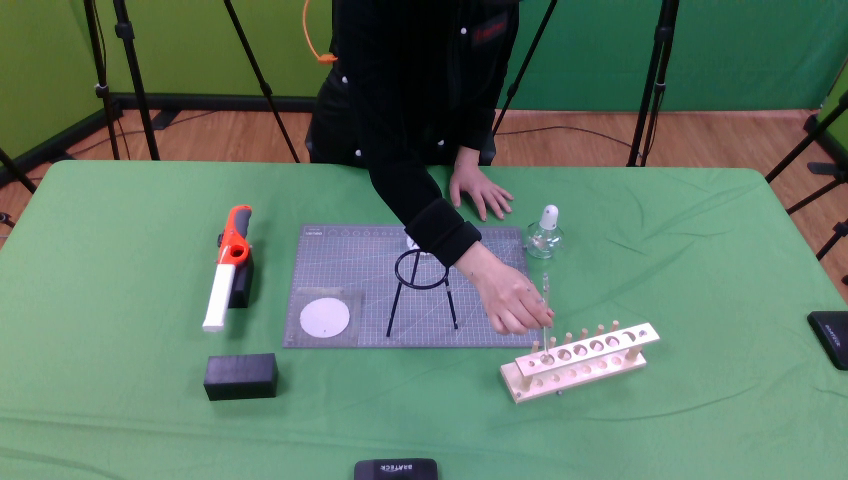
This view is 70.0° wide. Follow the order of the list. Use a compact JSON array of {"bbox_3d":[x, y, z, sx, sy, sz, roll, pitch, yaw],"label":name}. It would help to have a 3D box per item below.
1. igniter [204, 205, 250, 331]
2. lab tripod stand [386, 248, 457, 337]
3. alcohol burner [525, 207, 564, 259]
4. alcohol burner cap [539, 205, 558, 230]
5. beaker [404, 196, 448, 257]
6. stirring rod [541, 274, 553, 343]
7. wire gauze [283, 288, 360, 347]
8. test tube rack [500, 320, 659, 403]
[{"bbox_3d":[-0.344,0.039,1.065,0.057,0.025,0.274,2,48,-6],"label":"igniter"},{"bbox_3d":[-0.010,0.087,1.032,0.148,0.132,0.147,1,45,-1],"label":"lab tripod stand"},{"bbox_3d":[0.236,-0.020,1.174,0.078,0.120,0.077,1,48,-1],"label":"alcohol burner"},{"bbox_3d":[0.239,-0.045,1.148,0.034,0.048,0.033,2,42,-1],"label":"alcohol burner cap"},{"bbox_3d":[0.002,-0.023,1.164,0.084,0.101,0.073,6,46,0],"label":"beaker"},{"bbox_3d":[0.175,0.101,0.859,0.014,0.177,0.006,-4,51,10],"label":"stirring rod"},{"bbox_3d":[-0.177,0.132,1.063,0.125,0.011,0.120,2,46,1],"label":"wire gauze"},{"bbox_3d":[0.253,0.187,0.994,0.243,0.085,0.066,-12,48,-15],"label":"test tube rack"}]
